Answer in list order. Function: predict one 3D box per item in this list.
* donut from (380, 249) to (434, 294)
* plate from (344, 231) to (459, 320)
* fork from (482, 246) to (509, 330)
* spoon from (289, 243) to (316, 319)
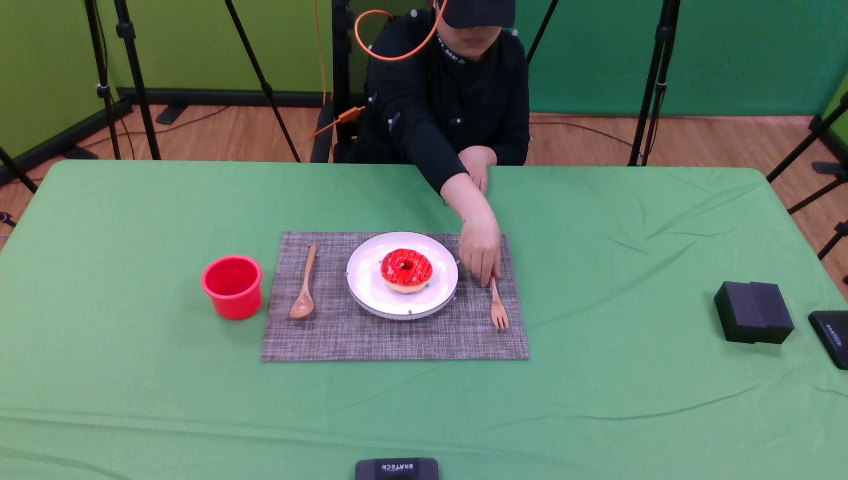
[{"bbox_3d":[-0.032,0.056,1.111,0.099,0.048,0.098,3,43,-3],"label":"donut"},{"bbox_3d":[-0.042,0.068,1.115,0.209,0.038,0.208,2,46,-2],"label":"plate"},{"bbox_3d":[0.128,0.084,1.125,0.028,0.019,0.206,-7,48,0],"label":"fork"},{"bbox_3d":[-0.215,0.071,1.108,0.041,0.022,0.192,-10,45,10],"label":"spoon"}]
